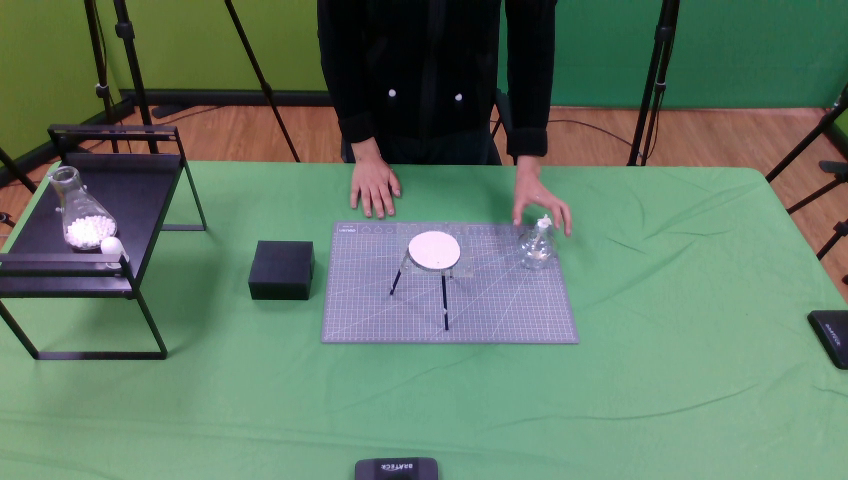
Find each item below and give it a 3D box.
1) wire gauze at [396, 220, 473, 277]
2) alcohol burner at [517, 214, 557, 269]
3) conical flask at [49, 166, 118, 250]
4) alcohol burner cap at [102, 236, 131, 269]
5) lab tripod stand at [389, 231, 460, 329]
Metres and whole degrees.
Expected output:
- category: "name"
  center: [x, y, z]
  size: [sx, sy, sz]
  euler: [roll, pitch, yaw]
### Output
- category: "wire gauze"
  center: [0.016, 0.012, 1.013]
  size: [0.125, 0.011, 0.120]
  euler: [1, 47, -5]
- category: "alcohol burner"
  center: [0.217, -0.002, 1.149]
  size: [0.078, 0.120, 0.077]
  euler: [2, 44, -1]
- category: "conical flask"
  center: [-0.505, -0.051, 0.888]
  size: [0.075, 0.122, 0.075]
  euler: [2, 45, -2]
- category: "alcohol burner cap"
  center: [-0.451, 0.016, 0.883]
  size: [0.034, 0.048, 0.033]
  euler: [3, 44, -3]
- category: "lab tripod stand"
  center: [0.015, 0.063, 1.058]
  size: [0.148, 0.132, 0.147]
  euler: [4, 46, -4]
